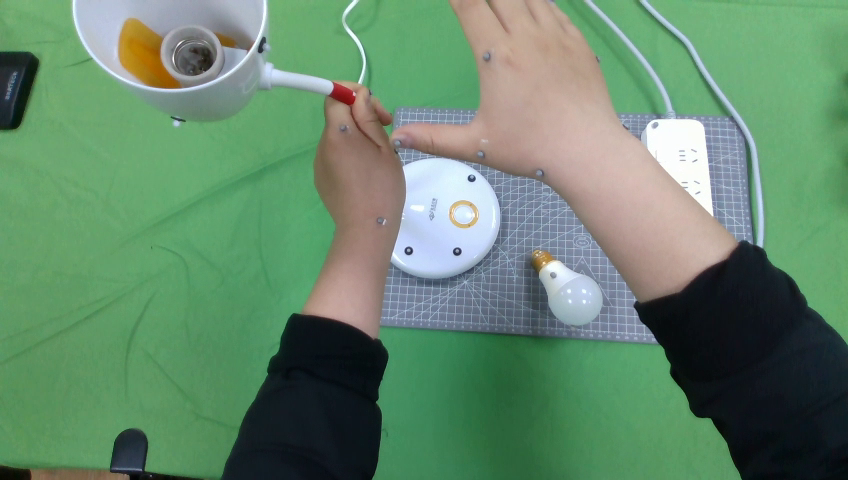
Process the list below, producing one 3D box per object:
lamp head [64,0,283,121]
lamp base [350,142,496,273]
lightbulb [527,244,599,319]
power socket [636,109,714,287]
[{"bbox_3d":[-0.157,-0.132,0.413,0.112,0.123,0.112,0,80,-3],"label":"lamp head"},{"bbox_3d":[-0.010,-0.060,0.679,0.179,0.181,0.159,-4,72,6],"label":"lamp base"},{"bbox_3d":[0.157,0.044,0.703,0.059,0.060,0.106,-33,57,-6],"label":"lightbulb"},{"bbox_3d":[0.301,-0.057,0.733,0.072,0.033,0.225,1,72,4],"label":"power socket"}]
